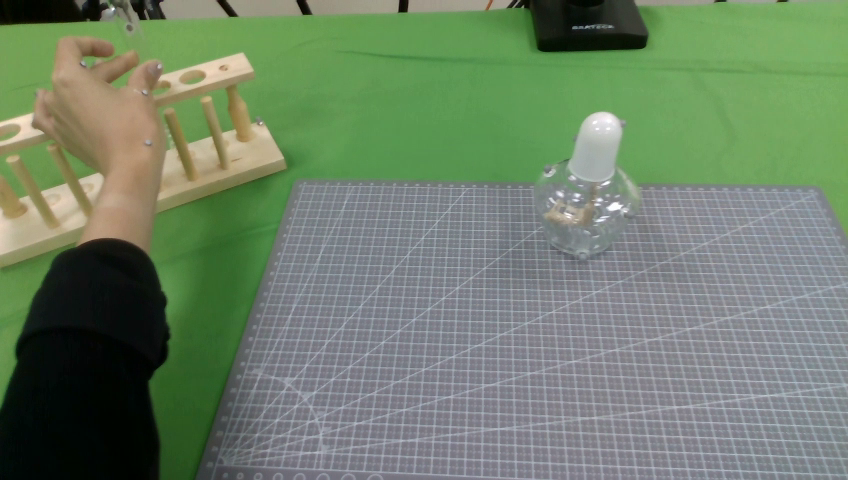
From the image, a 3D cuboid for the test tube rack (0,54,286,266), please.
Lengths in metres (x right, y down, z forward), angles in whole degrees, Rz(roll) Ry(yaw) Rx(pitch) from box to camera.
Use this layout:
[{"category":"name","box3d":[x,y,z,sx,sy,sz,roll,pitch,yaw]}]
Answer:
[{"category":"test tube rack","box3d":[-0.250,-0.071,0.510,0.243,0.086,0.066,-22,50,-16]}]

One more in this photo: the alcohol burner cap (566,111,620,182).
[{"category":"alcohol burner cap","box3d":[0.119,-0.068,0.421,0.034,0.048,0.033,0,47,0]}]

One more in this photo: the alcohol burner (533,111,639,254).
[{"category":"alcohol burner","box3d":[0.121,-0.046,0.443,0.078,0.120,0.077,-1,49,1]}]

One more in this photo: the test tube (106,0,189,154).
[{"category":"test tube","box3d":[-0.225,-0.136,0.496,0.017,0.151,0.017,-5,40,4]}]
